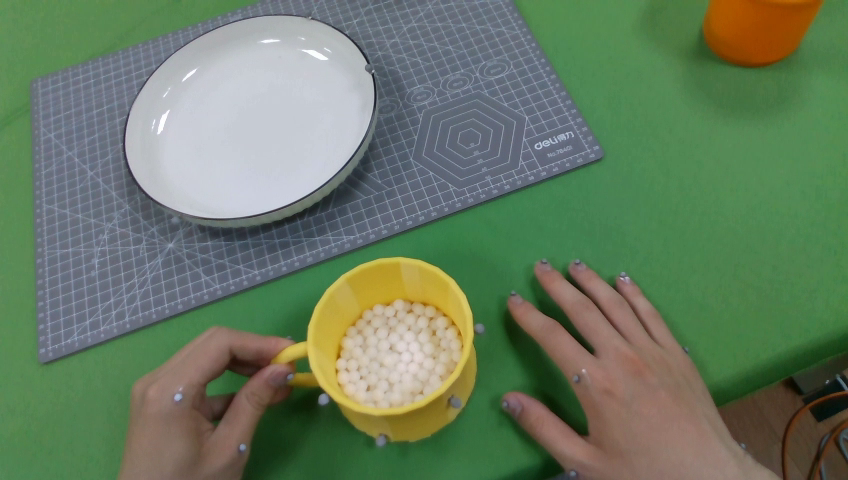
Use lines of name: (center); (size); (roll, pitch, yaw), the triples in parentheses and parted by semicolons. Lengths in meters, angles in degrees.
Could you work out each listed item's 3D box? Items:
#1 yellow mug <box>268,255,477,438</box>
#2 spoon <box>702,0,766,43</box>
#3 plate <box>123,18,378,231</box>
yellow mug: (-0.033, 0.071, 0.382); (0.131, 0.064, 0.099); (-12, 59, 0)
spoon: (0.285, -0.228, 0.444); (0.194, 0.022, 0.041); (-48, 56, 28)
plate: (-0.137, -0.095, 0.498); (0.207, 0.039, 0.206); (-3, 62, 6)
